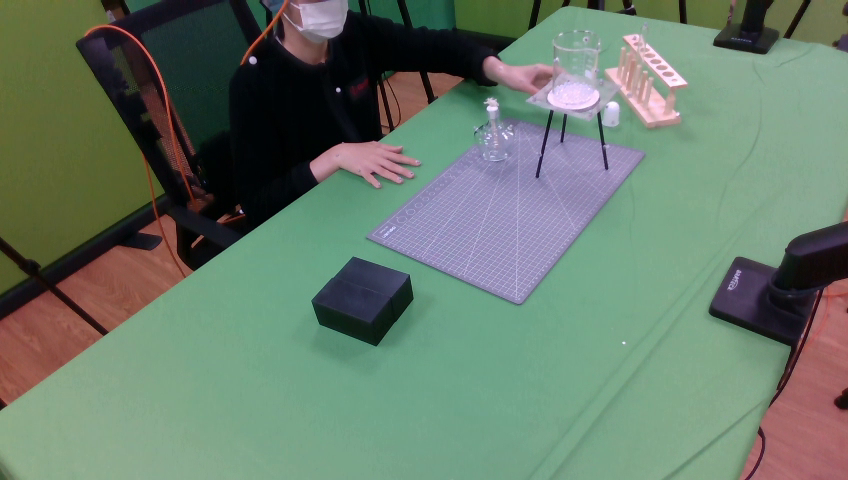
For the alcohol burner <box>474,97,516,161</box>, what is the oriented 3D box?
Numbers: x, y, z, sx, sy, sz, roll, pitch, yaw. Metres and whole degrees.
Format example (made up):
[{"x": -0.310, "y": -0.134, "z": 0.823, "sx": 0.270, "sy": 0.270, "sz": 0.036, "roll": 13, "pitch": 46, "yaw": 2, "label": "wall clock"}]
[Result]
[{"x": 0.130, "y": -0.208, "z": 1.121, "sx": 0.078, "sy": 0.119, "sz": 0.077, "roll": -6, "pitch": 40, "yaw": 5, "label": "alcohol burner"}]

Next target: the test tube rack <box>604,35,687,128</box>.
[{"x": 0.447, "y": -0.330, "z": 1.241, "sx": 0.067, "sy": 0.085, "sz": 0.241, "roll": -9, "pitch": 41, "yaw": -2, "label": "test tube rack"}]

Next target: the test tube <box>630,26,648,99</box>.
[{"x": 0.426, "y": -0.350, "z": 1.199, "sx": 0.017, "sy": 0.151, "sz": 0.017, "roll": -4, "pitch": 42, "yaw": 4, "label": "test tube"}]

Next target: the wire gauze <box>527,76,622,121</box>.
[{"x": 0.255, "y": -0.247, "z": 1.030, "sx": 0.124, "sy": 0.011, "sz": 0.122, "roll": 23, "pitch": 49, "yaw": 34, "label": "wire gauze"}]

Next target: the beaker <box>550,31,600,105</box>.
[{"x": 0.250, "y": -0.281, "z": 0.996, "sx": 0.074, "sy": 0.101, "sz": 0.083, "roll": -37, "pitch": 49, "yaw": -27, "label": "beaker"}]

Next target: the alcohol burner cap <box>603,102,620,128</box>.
[{"x": 0.371, "y": -0.249, "z": 1.193, "sx": 0.034, "sy": 0.048, "sz": 0.033, "roll": -5, "pitch": 41, "yaw": 5, "label": "alcohol burner cap"}]

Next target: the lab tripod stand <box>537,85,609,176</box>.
[{"x": 0.259, "y": -0.192, "z": 1.068, "sx": 0.148, "sy": 0.132, "sz": 0.147, "roll": -4, "pitch": 43, "yaw": 4, "label": "lab tripod stand"}]
